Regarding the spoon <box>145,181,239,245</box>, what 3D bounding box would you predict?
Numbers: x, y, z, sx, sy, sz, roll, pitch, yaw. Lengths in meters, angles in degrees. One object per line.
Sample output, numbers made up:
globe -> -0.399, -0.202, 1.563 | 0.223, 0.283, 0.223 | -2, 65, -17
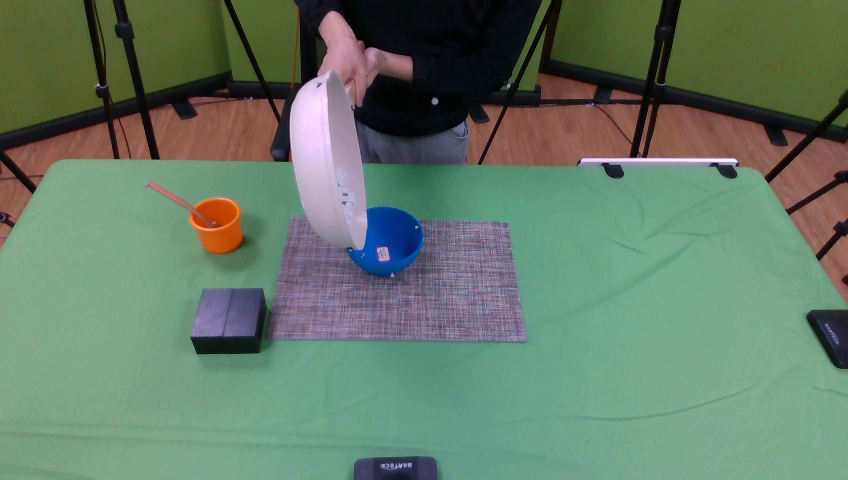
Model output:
spoon -> -0.429, -0.052, 1.126 | 0.021, 0.195, 0.041 | -28, 34, 33

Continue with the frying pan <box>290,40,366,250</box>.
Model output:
frying pan -> -0.144, -0.203, 1.057 | 0.103, 0.308, 0.485 | 0, 49, 7

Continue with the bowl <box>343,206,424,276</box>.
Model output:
bowl -> -0.079, 0.014, 1.133 | 0.151, 0.077, 0.150 | 2, 46, -2
